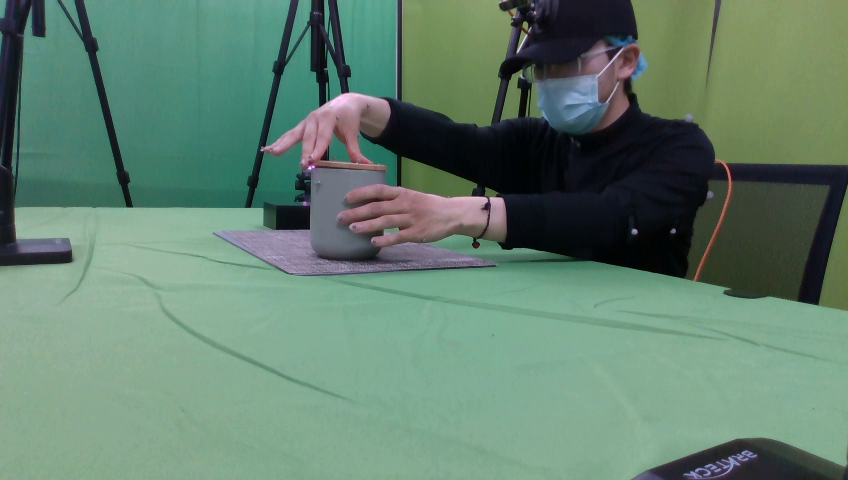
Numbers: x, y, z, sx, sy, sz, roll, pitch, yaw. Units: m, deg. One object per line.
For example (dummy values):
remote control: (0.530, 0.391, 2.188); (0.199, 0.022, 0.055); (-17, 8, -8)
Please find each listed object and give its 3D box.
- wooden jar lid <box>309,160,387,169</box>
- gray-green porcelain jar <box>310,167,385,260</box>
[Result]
wooden jar lid: (-0.107, -0.101, 0.851); (0.108, 0.020, 0.108); (3, 6, 0)
gray-green porcelain jar: (-0.109, -0.039, 0.859); (0.106, 0.126, 0.106); (2, 7, 0)
